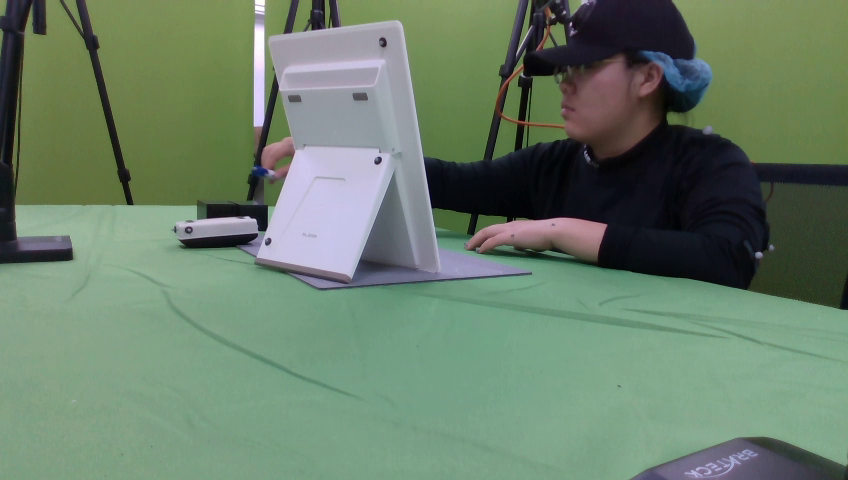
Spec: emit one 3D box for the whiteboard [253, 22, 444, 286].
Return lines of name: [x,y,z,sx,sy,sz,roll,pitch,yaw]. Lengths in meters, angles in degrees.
whiteboard: [-0.125,-0.081,0.715,0.216,0.305,0.144,9,29,36]

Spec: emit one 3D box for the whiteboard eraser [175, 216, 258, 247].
whiteboard eraser: [-0.314,-0.012,0.915,0.113,0.042,0.055,-5,12,-30]

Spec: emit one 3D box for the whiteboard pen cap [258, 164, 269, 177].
whiteboard pen cap: [-0.277,-0.120,1.044,0.018,0.018,0.033,0,23,-21]

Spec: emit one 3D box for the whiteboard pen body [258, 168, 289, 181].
whiteboard pen body: [-0.263,-0.118,1.105,0.017,0.017,0.141,5,0,17]
